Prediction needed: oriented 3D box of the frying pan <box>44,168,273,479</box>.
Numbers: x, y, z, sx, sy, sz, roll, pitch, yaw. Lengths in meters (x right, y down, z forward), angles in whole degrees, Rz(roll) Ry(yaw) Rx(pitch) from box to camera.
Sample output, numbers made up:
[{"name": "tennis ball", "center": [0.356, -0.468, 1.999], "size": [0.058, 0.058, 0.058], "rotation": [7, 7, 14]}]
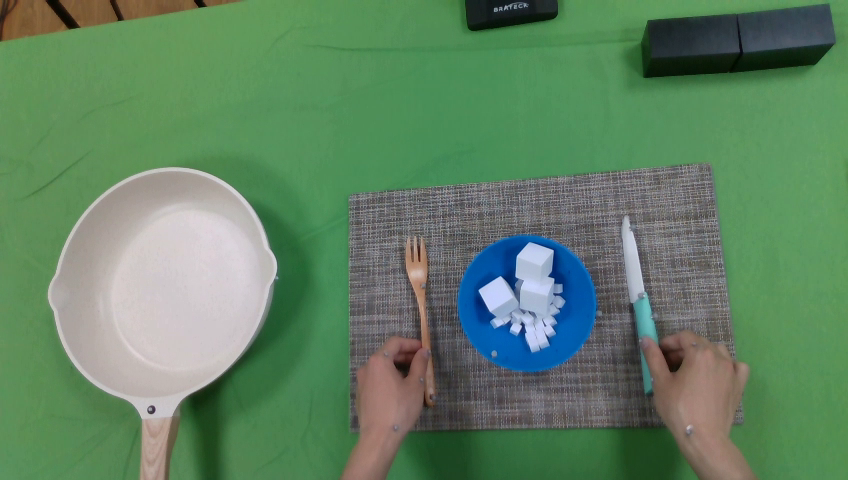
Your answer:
[{"name": "frying pan", "center": [-0.321, 0.152, 0.739], "size": [0.306, 0.103, 0.484], "rotation": [-6, 69, 9]}]

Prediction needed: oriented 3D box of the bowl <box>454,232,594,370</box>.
[{"name": "bowl", "center": [0.113, 0.072, 0.692], "size": [0.151, 0.077, 0.150], "rotation": [-2, 79, 9]}]

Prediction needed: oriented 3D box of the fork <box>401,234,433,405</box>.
[{"name": "fork", "center": [-0.005, 0.095, 0.738], "size": [0.028, 0.018, 0.206], "rotation": [-3, 77, -15]}]

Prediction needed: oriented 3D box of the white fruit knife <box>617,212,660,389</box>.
[{"name": "white fruit knife", "center": [0.245, 0.067, 0.701], "size": [0.016, 0.027, 0.206], "rotation": [2, 75, -32]}]
